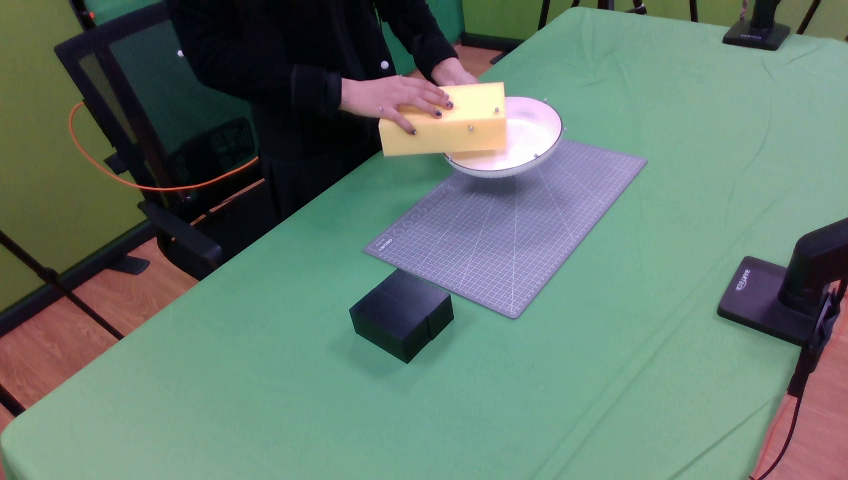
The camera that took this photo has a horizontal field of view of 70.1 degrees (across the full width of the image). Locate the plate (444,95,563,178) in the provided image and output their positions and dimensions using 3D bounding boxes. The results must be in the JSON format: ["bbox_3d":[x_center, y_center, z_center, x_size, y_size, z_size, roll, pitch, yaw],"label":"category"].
[{"bbox_3d":[0.133,-0.173,1.034,0.209,0.038,0.208,-8,46,9],"label":"plate"}]

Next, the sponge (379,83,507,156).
[{"bbox_3d":[0.034,-0.204,1.018,0.207,0.061,0.117,-3,42,3],"label":"sponge"}]
